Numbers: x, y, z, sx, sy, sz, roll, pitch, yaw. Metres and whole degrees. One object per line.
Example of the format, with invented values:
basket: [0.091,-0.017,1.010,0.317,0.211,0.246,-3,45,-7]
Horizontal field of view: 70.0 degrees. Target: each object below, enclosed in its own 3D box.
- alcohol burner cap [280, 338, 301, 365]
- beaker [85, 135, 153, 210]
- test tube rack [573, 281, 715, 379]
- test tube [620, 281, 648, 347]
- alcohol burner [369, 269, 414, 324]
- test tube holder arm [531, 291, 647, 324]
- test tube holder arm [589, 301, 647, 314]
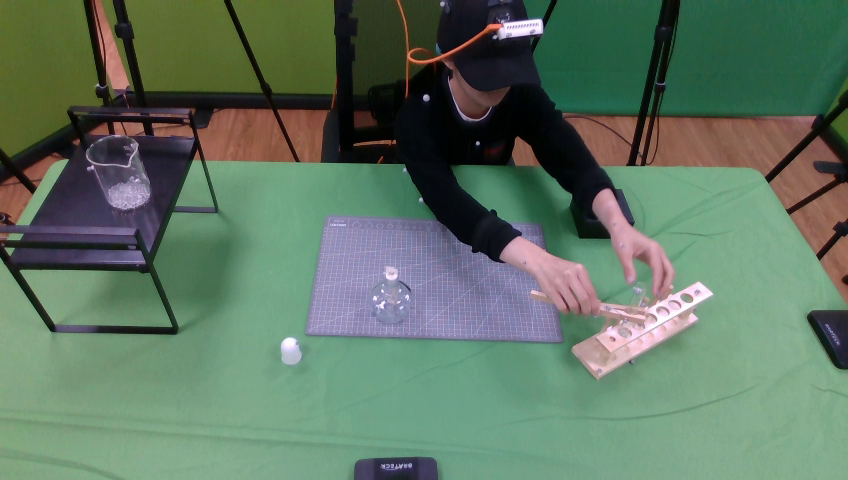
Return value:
alcohol burner cap: [-0.220,0.179,0.993,0.034,0.048,0.033,2,46,-2]
beaker: [-0.475,-0.102,0.957,0.083,0.101,0.074,34,53,26]
test tube rack: [0.378,0.140,1.038,0.242,0.085,0.066,-22,51,-23]
test tube: [0.325,0.119,0.948,0.017,0.151,0.017,0,44,0]
alcohol burner: [-0.056,0.089,1.037,0.078,0.120,0.077,1,48,-1]
test tube holder arm: [0.258,0.105,0.956,0.178,0.015,0.013,11,40,14]
test tube holder arm: [0.303,0.108,0.951,0.088,0.015,0.010,6,40,8]
